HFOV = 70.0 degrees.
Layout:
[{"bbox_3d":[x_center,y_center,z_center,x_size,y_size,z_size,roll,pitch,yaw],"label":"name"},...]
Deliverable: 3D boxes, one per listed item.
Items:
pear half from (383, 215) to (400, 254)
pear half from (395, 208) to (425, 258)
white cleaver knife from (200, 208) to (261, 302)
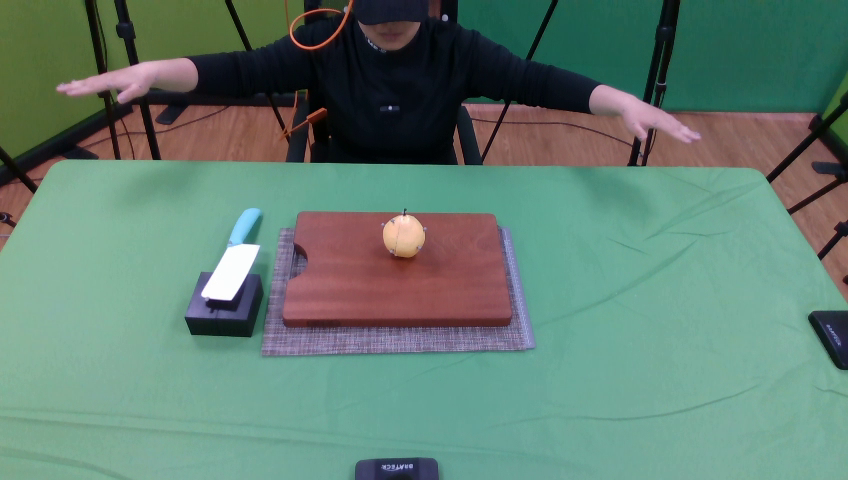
[{"bbox_3d":[-0.061,-0.013,1.119,0.031,0.088,0.070,0,54,-4],"label":"pear half"},{"bbox_3d":[-0.025,-0.018,1.113,0.056,0.110,0.076,0,50,-3],"label":"pear half"},{"bbox_3d":[-0.338,0.024,1.116,0.066,0.021,0.285,6,35,-3],"label":"white cleaver knife"}]
